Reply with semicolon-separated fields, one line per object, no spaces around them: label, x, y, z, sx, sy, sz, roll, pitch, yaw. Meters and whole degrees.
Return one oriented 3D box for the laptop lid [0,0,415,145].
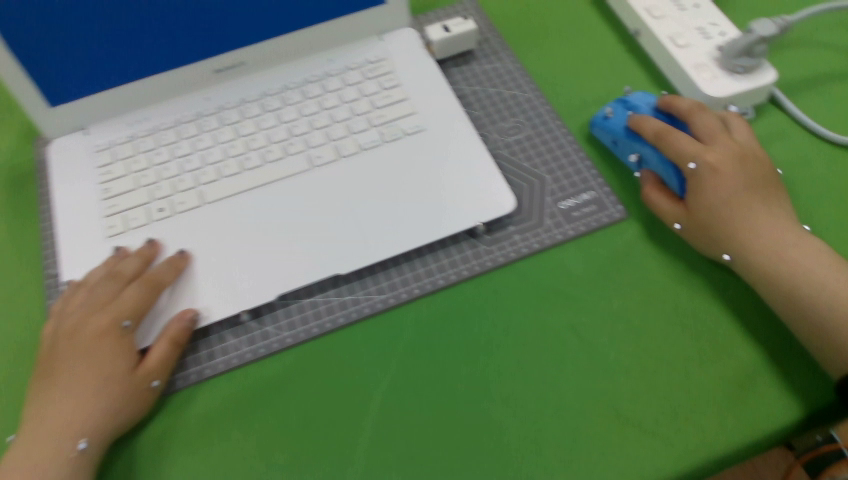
laptop lid;-0.190;-0.223;0.489;0.357;0.244;0.013;-22;46;-7

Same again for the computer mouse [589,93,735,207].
computer mouse;0.192;-0.080;0.494;0.063;0.041;0.116;-30;55;-11

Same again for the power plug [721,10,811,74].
power plug;0.289;-0.158;0.511;0.072;0.053;0.035;-9;59;0

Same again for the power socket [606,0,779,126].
power socket;0.239;-0.197;0.565;0.072;0.033;0.224;-17;58;-5

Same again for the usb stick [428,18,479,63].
usb stick;0.022;-0.185;0.570;0.059;0.027;0.021;-21;59;-4

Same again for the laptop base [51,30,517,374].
laptop base;-0.128;-0.051;0.514;0.354;0.023;0.233;-21;62;-8
